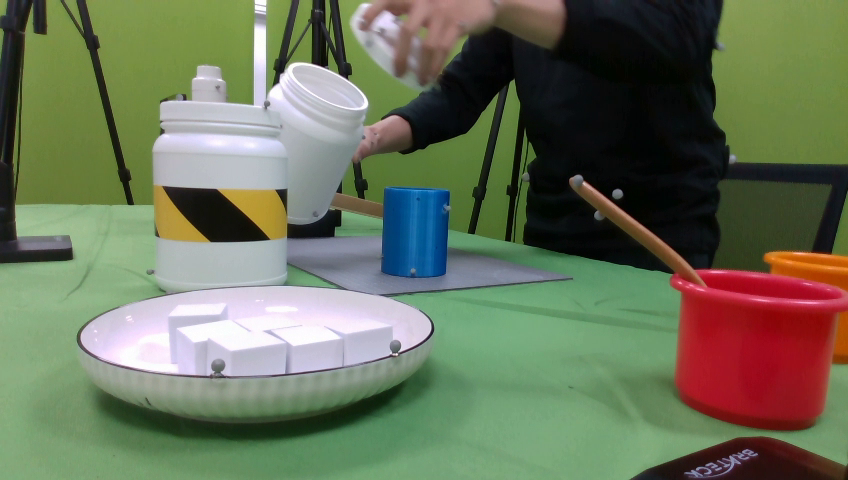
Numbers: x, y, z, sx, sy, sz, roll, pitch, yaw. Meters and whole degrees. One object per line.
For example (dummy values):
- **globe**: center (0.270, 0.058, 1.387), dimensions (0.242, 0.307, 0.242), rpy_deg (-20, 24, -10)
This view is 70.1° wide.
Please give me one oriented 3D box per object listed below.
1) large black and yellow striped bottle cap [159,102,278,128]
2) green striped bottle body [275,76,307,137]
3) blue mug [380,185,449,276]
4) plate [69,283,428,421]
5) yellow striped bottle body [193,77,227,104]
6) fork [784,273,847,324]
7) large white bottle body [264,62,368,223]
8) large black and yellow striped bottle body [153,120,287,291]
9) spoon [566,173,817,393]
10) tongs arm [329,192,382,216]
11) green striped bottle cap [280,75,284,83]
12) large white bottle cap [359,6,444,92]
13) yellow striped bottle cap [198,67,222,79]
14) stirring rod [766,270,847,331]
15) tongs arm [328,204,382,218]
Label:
- **large black and yellow striped bottle cap**: center (-0.207, -0.125, 0.615), dimensions (0.115, 0.019, 0.115), rpy_deg (2, 6, 0)
- **green striped bottle body**: center (-0.269, -0.269, 1.221), dimensions (0.063, 0.119, 0.063), rpy_deg (2, 7, 0)
- **blue mug**: center (-0.019, -0.016, 0.764), dimensions (0.083, 0.106, 0.116), rpy_deg (-1, 8, -25)
- **plate**: center (-0.102, 0.066, 0.381), dimensions (0.208, 0.039, 0.207), rpy_deg (2, 7, 0)
- **yellow striped bottle body**: center (-0.414, -0.268, 1.169), dimensions (0.063, 0.120, 0.063), rpy_deg (2, 7, 0)
- **fork**: center (0.332, 0.018, 0.444), dimensions (0.028, 0.018, 0.207), rpy_deg (-2, -35, -15)
- **large white bottle body**: center (-0.160, -0.130, 0.812), dimensions (0.131, 0.184, 0.130), rpy_deg (23, 30, -14)
- **large black and yellow striped bottle body**: center (-0.208, -0.042, 0.626), dimensions (0.131, 0.184, 0.130), rpy_deg (2, 7, 0)
- **spoon**: center (0.161, 0.024, 0.370), dimensions (0.193, 0.021, 0.042), rpy_deg (47, 18, 3)
- **tongs arm**: center (-0.122, -0.066, 1.147), dimensions (0.387, 0.026, 0.050), rpy_deg (11, -2, -37)
- **green striped bottle cap**: center (-0.267, -0.320, 1.216), dimensions (0.044, 0.020, 0.044), rpy_deg (3, 9, 0)
- **large white bottle cap**: center (-0.024, -0.219, 0.694), dimensions (0.018, 0.114, 0.115), rpy_deg (-40, -18, 31)
- **yellow striped bottle cap**: center (-0.412, -0.320, 1.163), dimensions (0.044, 0.018, 0.044), rpy_deg (0, 6, 0)
- **stirring rod**: center (0.352, 0.020, 0.484), dimensions (0.176, 0.006, 0.014), rpy_deg (-40, -7, 12)
- **tongs arm**: center (-0.165, -0.074, 1.216), dimensions (0.389, 0.027, 0.028), rpy_deg (11, -6, -24)
